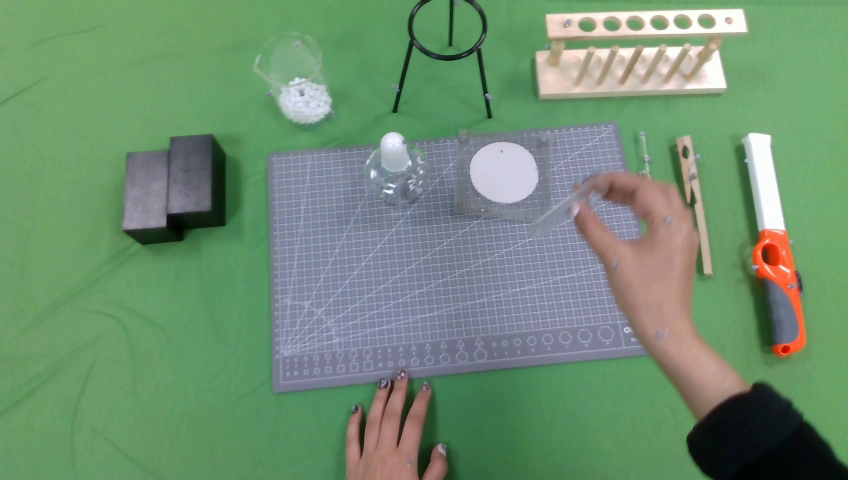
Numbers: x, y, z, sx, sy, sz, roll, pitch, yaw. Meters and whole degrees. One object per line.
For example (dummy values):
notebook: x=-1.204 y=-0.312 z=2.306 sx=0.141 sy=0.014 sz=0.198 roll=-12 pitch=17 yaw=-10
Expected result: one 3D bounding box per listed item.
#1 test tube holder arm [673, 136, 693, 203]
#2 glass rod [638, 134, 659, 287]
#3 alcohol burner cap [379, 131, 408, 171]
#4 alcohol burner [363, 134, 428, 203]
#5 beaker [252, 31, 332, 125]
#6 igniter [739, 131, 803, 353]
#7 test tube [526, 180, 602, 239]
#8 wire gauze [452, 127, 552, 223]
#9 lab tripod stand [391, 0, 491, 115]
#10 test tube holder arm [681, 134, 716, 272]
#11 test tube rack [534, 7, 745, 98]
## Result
test tube holder arm: x=0.326 y=-0.088 z=0.757 sx=0.010 sy=0.015 sz=0.087 roll=-16 pitch=68 yaw=33
glass rod: x=0.276 y=-0.040 z=0.745 sx=0.008 sy=0.008 sz=0.198 roll=0 pitch=74 yaw=0
alcohol burner cap: x=-0.035 y=-0.102 z=0.669 sx=0.034 sy=0.048 sz=0.033 roll=0 pitch=65 yaw=0
alcohol burner: x=-0.034 y=-0.089 z=0.703 sx=0.078 sy=0.120 sz=0.077 roll=-1 pitch=71 yaw=2
beaker: x=-0.158 y=-0.194 z=0.749 sx=0.084 sy=0.101 sz=0.073 roll=-13 pitch=71 yaw=-3
igniter: x=0.412 y=-0.003 z=0.723 sx=0.057 sy=0.025 sz=0.274 roll=4 pitch=71 yaw=-9
test tube: x=0.120 y=-0.024 z=0.538 sx=0.017 sy=0.150 sz=0.017 roll=2 pitch=77 yaw=-9
wire gauze: x=0.099 y=-0.085 z=0.758 sx=0.125 sy=0.011 sz=0.121 roll=5 pitch=73 yaw=1
lab tripod stand: x=0.023 y=-0.220 z=0.739 sx=0.148 sy=0.132 sz=0.147 roll=0 pitch=73 yaw=0
test tube holder arm: x=0.334 y=-0.047 z=0.740 sx=0.013 sy=0.015 sz=0.177 roll=-17 pitch=68 yaw=33
test tube rack: x=0.269 y=-0.236 z=0.770 sx=0.242 sy=0.085 sz=0.066 roll=-2 pitch=71 yaw=0
